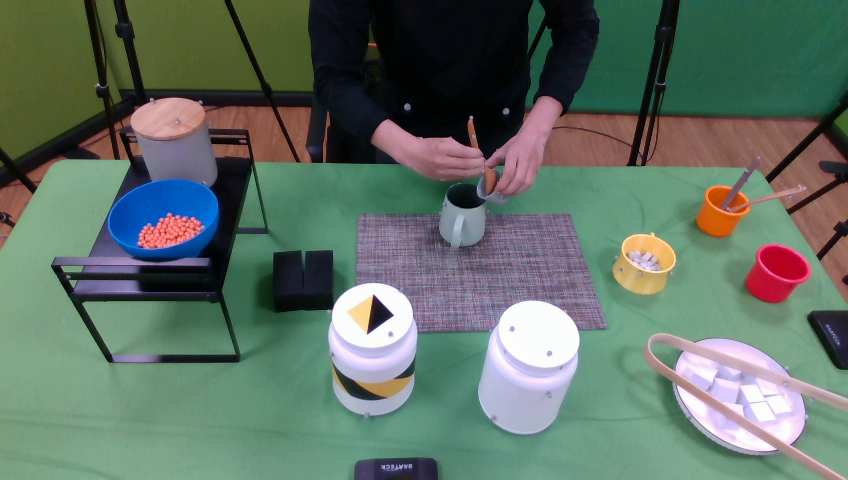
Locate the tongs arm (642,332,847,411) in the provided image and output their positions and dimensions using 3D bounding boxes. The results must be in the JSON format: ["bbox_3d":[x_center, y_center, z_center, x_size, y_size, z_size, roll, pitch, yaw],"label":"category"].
[{"bbox_3d":[0.546,0.227,0.968,0.384,0.026,0.050,22,52,13],"label":"tongs arm"}]

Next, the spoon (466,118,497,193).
[{"bbox_3d":[0.098,-0.141,1.046,0.021,0.195,0.041,15,65,32],"label":"spoon"}]

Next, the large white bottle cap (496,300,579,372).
[{"bbox_3d":[0.160,0.133,0.852,0.115,0.018,0.114,3,46,-3],"label":"large white bottle cap"}]

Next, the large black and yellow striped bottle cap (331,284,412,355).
[{"bbox_3d":[-0.073,0.111,0.858,0.115,0.019,0.114,2,46,-2],"label":"large black and yellow striped bottle cap"}]

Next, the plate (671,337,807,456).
[{"bbox_3d":[0.504,0.254,0.984,0.208,0.039,0.206,2,46,-2],"label":"plate"}]

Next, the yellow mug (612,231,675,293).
[{"bbox_3d":[0.424,0.033,1.168,0.100,0.064,0.130,18,46,13],"label":"yellow mug"}]

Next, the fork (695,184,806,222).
[{"bbox_3d":[0.658,-0.074,1.230,0.207,0.019,0.028,-23,35,37],"label":"fork"}]

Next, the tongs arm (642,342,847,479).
[{"bbox_3d":[0.504,0.278,0.918,0.386,0.028,0.028,33,59,22],"label":"tongs arm"}]

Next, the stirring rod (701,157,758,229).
[{"bbox_3d":[0.634,-0.097,1.257,0.014,0.006,0.176,38,97,30],"label":"stirring rod"}]

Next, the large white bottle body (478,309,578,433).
[{"bbox_3d":[0.156,0.192,0.913,0.131,0.185,0.130,2,46,-2],"label":"large white bottle body"}]

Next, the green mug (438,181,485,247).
[{"bbox_3d":[0.071,-0.039,1.177,0.092,0.105,0.124,12,47,7],"label":"green mug"}]

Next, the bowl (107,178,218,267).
[{"bbox_3d":[-0.374,-0.014,0.893,0.151,0.077,0.150,2,46,-2],"label":"bowl"}]

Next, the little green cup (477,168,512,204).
[{"bbox_3d":[0.133,-0.099,1.124,0.039,0.061,0.061,34,41,-24],"label":"little green cup"}]

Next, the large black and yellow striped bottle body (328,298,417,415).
[{"bbox_3d":[-0.078,0.167,0.920,0.131,0.185,0.130,2,46,-2],"label":"large black and yellow striped bottle body"}]

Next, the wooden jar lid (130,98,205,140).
[{"bbox_3d":[-0.393,-0.183,0.934,0.108,0.021,0.107,2,44,-2],"label":"wooden jar lid"}]

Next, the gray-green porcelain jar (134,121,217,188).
[{"bbox_3d":[-0.396,-0.141,0.979,0.106,0.127,0.105,2,47,-2],"label":"gray-green porcelain jar"}]
